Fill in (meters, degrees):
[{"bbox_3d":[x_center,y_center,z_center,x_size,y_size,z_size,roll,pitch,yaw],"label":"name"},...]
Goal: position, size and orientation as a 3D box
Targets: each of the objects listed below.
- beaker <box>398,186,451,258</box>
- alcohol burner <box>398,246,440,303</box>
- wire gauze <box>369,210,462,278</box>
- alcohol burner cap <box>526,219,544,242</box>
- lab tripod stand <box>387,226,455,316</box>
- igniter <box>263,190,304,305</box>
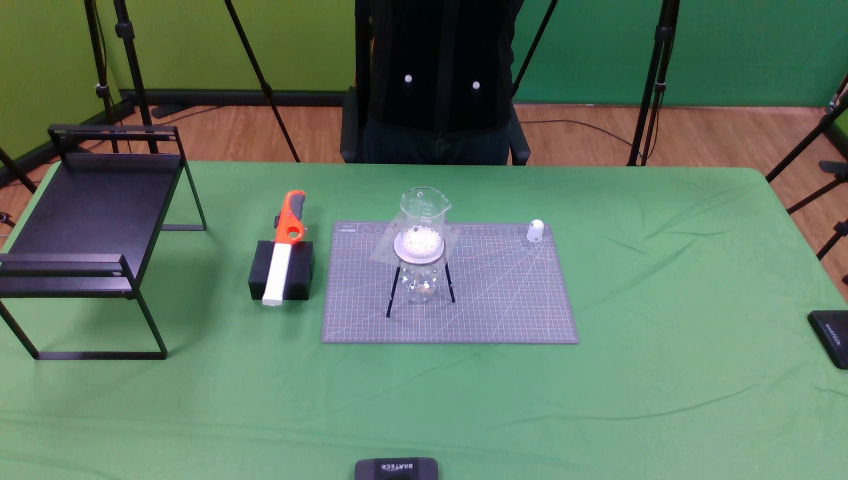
[{"bbox_3d":[-0.001,-0.026,0.984,0.084,0.101,0.073,1,48,-3],"label":"beaker"},{"bbox_3d":[-0.008,0.056,1.077,0.078,0.119,0.077,3,44,-3],"label":"alcohol burner"},{"bbox_3d":[-0.013,0.007,1.019,0.121,0.011,0.124,16,51,13],"label":"wire gauze"},{"bbox_3d":[0.225,-0.021,1.218,0.034,0.048,0.033,1,47,-1],"label":"alcohol burner cap"},{"bbox_3d":[-0.013,0.054,1.064,0.148,0.132,0.147,2,48,-2],"label":"lab tripod stand"},{"bbox_3d":[-0.255,0.004,1.107,0.057,0.025,0.274,5,47,-7],"label":"igniter"}]
